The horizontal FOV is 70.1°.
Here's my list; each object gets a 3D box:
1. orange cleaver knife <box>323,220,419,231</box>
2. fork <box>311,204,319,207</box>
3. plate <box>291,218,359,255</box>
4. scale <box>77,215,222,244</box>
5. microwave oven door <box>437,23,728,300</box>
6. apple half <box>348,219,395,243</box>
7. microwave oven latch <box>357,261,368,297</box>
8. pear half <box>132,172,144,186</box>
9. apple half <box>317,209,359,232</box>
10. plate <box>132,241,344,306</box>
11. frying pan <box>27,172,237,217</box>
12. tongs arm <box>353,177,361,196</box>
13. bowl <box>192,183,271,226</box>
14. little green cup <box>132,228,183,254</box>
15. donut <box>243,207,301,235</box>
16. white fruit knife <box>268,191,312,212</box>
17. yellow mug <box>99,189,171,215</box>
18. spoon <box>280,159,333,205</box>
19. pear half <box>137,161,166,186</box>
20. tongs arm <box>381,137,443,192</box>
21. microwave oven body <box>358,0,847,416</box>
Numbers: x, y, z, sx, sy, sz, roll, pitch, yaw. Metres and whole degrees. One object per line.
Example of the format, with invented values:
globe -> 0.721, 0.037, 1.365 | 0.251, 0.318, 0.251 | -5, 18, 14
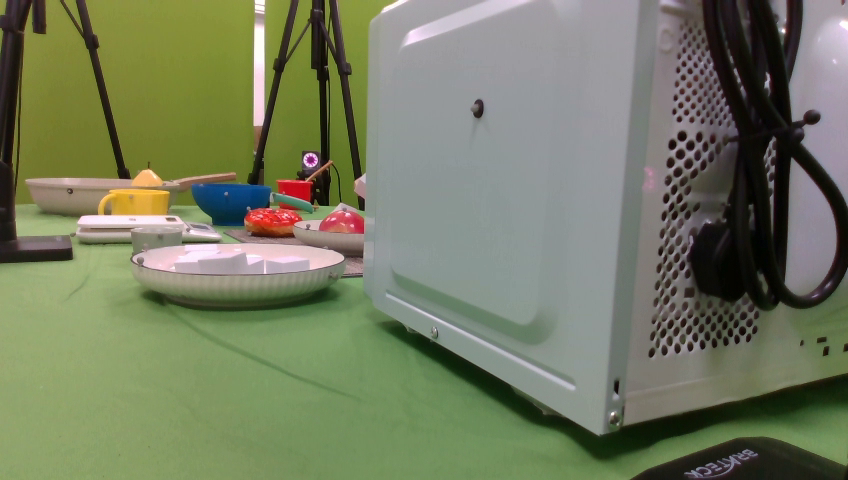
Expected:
orange cleaver knife -> -0.097, -0.027, 1.152 | 0.077, 0.012, 0.212 | 2, 7, 41
fork -> -0.356, -0.105, 1.526 | 0.208, 0.018, 0.028 | 16, -5, -41
plate -> -0.098, -0.007, 0.928 | 0.209, 0.038, 0.209 | 2, 7, 0
scale -> -0.434, -0.019, 0.963 | 0.202, 0.031, 0.148 | -1, 9, -27
microwave oven door -> 0.181, -0.072, 0.621 | 0.358, 0.243, 0.039 | -2, 8, -29
apple half -> -0.083, -0.018, 0.966 | 0.081, 0.033, 0.081 | 7, 10, -1
microwave oven latch -> -0.019, 0.033, 0.531 | 0.079, 0.029, 0.030 | -1, 7, -27
pear half -> -0.638, -0.113, 1.361 | 0.031, 0.088, 0.070 | 5, 11, 4
apple half -> -0.122, -0.020, 0.900 | 0.080, 0.053, 0.075 | 3, 10, 13
plate -> -0.187, 0.033, 0.625 | 0.208, 0.039, 0.207 | 2, 8, 0
frying pan -> -0.624, -0.118, 1.387 | 0.305, 0.102, 0.490 | 8, 17, 32
tongs arm -> -0.051, -0.141, 1.117 | 0.028, 0.028, 0.388 | -12, 15, 20
bowl -> -0.382, -0.071, 1.202 | 0.151, 0.077, 0.151 | 3, 7, 0
little green cup -> -0.342, 0.006, 0.779 | 0.061, 0.038, 0.061 | 2, 8, 0
donut -> -0.261, -0.032, 1.043 | 0.099, 0.048, 0.099 | 4, 9, 0
white fruit knife -> -0.364, -0.105, 1.464 | 0.208, 0.027, 0.016 | 15, 0, -34
yellow mug -> -0.518, -0.055, 1.080 | 0.099, 0.064, 0.131 | 7, 9, 26
spoon -> -0.316, -0.159, 1.640 | 0.194, 0.022, 0.041 | -49, 32, -20
pear half -> -0.602, -0.120, 1.354 | 0.056, 0.110, 0.076 | 4, 11, 6
tongs arm -> -0.023, -0.145, 1.109 | 0.050, 0.026, 0.385 | -8, 16, 22
microwave oven body -> 0.211, -0.047, 0.474 | 0.444, 0.260, 0.324 | -1, 7, -28
